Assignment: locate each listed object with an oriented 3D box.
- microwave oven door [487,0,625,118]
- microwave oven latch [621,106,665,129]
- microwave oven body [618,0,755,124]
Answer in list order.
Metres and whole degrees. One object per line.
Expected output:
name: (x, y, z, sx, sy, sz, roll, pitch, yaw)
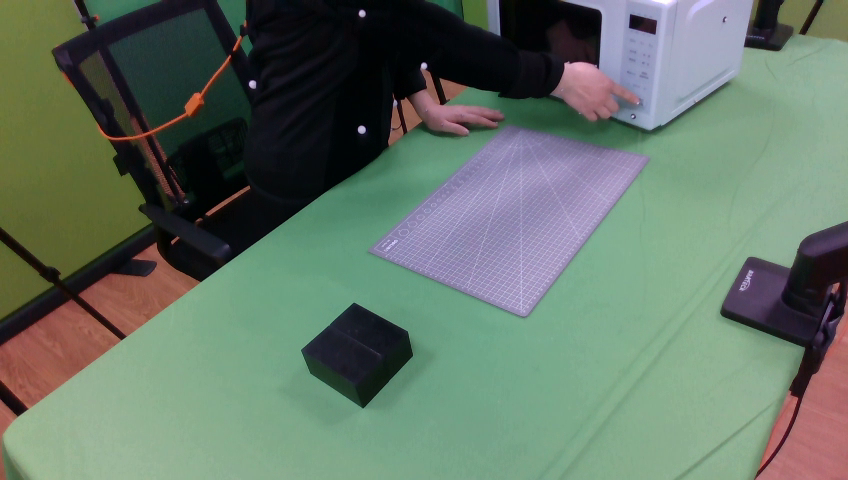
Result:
microwave oven door: (0.262, -0.409, 1.221, 0.039, 0.245, 0.352, -33, 45, -25)
microwave oven latch: (0.414, -0.237, 1.146, 0.030, 0.029, 0.078, -30, 44, -22)
microwave oven body: (0.402, -0.458, 1.259, 0.327, 0.261, 0.437, -33, 45, -24)
